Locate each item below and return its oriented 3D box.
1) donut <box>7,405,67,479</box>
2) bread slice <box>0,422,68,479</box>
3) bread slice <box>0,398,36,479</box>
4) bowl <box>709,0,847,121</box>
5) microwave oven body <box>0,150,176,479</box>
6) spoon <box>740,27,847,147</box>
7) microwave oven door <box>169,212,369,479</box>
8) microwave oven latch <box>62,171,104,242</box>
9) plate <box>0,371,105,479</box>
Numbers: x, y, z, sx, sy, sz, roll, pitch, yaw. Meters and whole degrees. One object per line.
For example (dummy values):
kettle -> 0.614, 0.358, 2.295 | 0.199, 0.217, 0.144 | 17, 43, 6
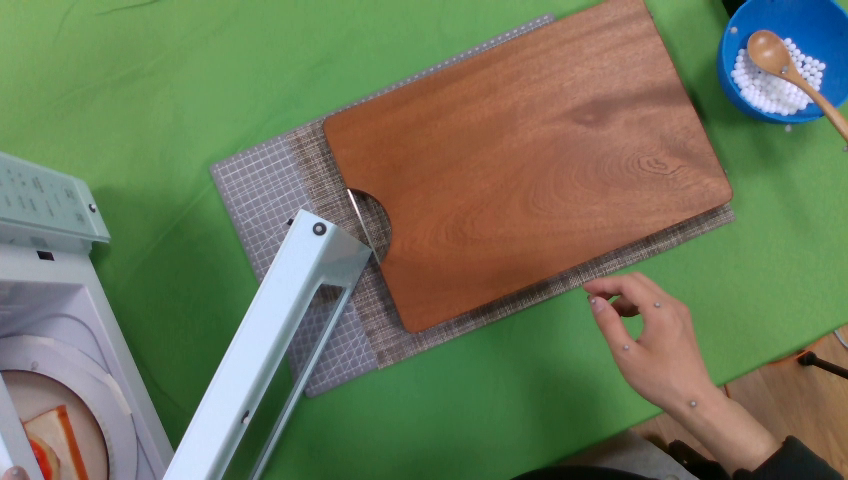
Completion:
donut -> -0.406, 0.214, 0.600 | 0.099, 0.048, 0.098 | 0, 81, 1
bread slice -> -0.434, 0.242, 0.620 | 0.131, 0.019, 0.104 | -1, 86, 1
bread slice -> -0.425, 0.218, 0.561 | 0.134, 0.018, 0.107 | -26, 87, 10
bowl -> 0.386, -0.199, 0.681 | 0.151, 0.077, 0.151 | 0, 86, 1
microwave oven body -> -0.455, 0.177, 0.576 | 0.326, 0.260, 0.441 | -26, 86, -2
spoon -> 0.407, -0.158, 0.648 | 0.041, 0.022, 0.192 | -25, 62, -2
microwave oven door -> -0.157, 0.149, 0.568 | 0.039, 0.244, 0.355 | 25, 86, 4
microwave oven latch -> -0.397, -0.038, 0.688 | 0.030, 0.029, 0.079 | -26, 86, -2
plate -> -0.429, 0.237, 0.620 | 0.208, 0.039, 0.207 | 0, 84, -3
